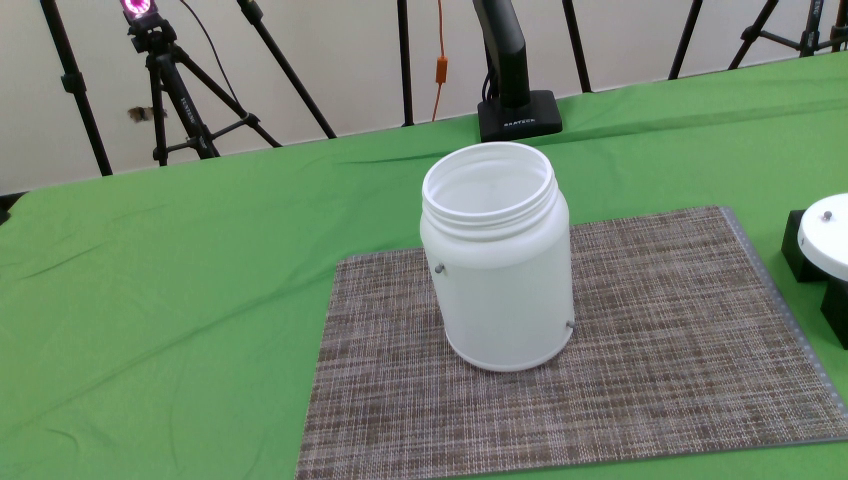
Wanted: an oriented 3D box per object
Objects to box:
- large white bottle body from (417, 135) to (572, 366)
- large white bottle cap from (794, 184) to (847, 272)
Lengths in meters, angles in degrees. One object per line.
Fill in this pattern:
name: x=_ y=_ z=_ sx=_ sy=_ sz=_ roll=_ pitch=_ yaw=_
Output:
large white bottle body: x=0.066 y=0.011 z=0.553 sx=0.130 sy=0.186 sz=0.129 roll=-8 pitch=40 yaw=7
large white bottle cap: x=0.394 y=-0.011 z=0.536 sx=0.115 sy=0.018 sz=0.113 roll=-8 pitch=39 yaw=7
